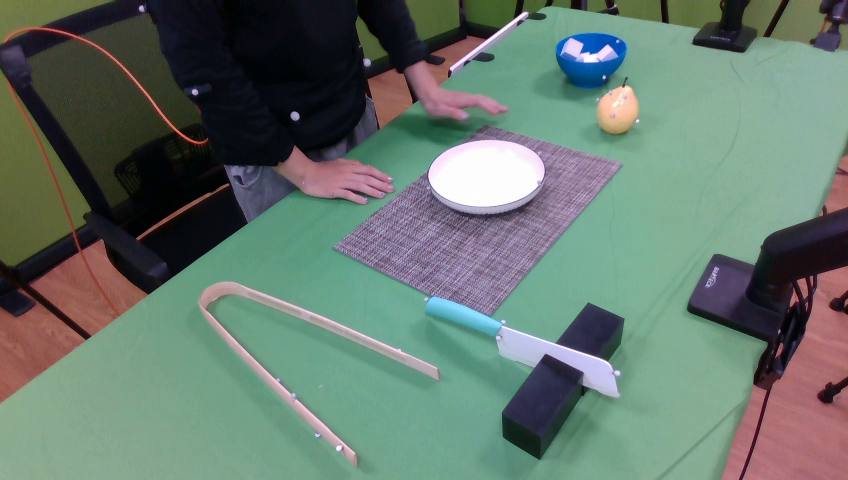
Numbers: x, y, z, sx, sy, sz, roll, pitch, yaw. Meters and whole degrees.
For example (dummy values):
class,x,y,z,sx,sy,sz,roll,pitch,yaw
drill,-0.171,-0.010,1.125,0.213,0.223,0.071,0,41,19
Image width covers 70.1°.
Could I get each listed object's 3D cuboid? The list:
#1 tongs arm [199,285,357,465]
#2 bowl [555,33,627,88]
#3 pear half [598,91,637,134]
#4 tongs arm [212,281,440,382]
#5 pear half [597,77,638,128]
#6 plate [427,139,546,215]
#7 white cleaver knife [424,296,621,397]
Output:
class,x,y,z,sx,sy,sz,roll,pitch,yaw
tongs arm,-0.199,0.162,0.797,0.381,0.026,0.051,28,50,35
bowl,0.360,-0.384,1.318,0.151,0.077,0.150,-4,41,4
pear half,0.366,-0.235,1.137,0.070,0.088,0.031,10,43,5
tongs arm,-0.148,0.122,0.846,0.385,0.028,0.028,17,48,25
pear half,0.373,-0.266,1.155,0.076,0.110,0.056,10,44,4
plate,0.109,-0.107,1.058,0.207,0.039,0.206,-4,40,4
white cleaver knife,0.110,0.132,0.761,0.284,0.066,0.021,17,42,39
